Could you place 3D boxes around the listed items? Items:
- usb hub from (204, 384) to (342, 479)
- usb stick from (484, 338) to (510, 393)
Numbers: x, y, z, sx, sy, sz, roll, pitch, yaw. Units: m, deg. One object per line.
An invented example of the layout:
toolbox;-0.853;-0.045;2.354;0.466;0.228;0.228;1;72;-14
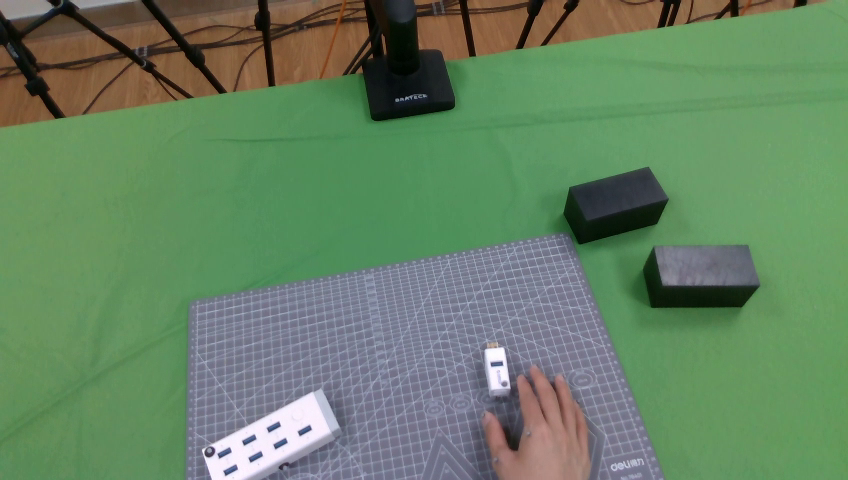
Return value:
usb hub;-0.148;0.193;0.595;0.125;0.025;0.049;-25;59;-14
usb stick;0.074;0.127;0.627;0.021;0.027;0.058;-6;55;2
